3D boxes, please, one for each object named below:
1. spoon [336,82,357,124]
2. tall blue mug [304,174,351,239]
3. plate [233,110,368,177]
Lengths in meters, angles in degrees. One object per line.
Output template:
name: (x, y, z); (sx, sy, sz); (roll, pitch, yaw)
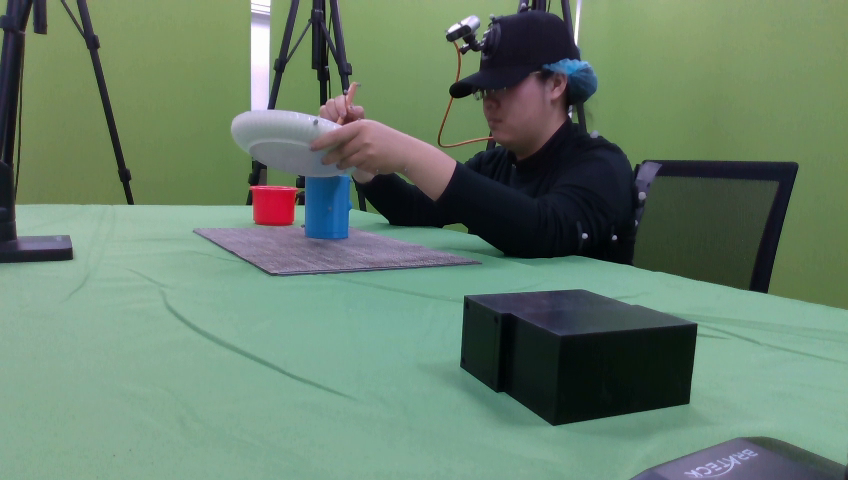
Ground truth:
spoon: (-0.153, -0.218, 1.084); (0.041, 0.022, 0.193); (1, 50, 19)
tall blue mug: (-0.178, -0.062, 1.062); (0.078, 0.108, 0.106); (-5, 11, -38)
plate: (-0.192, -0.139, 0.939); (0.208, 0.039, 0.208); (6, -13, 2)
